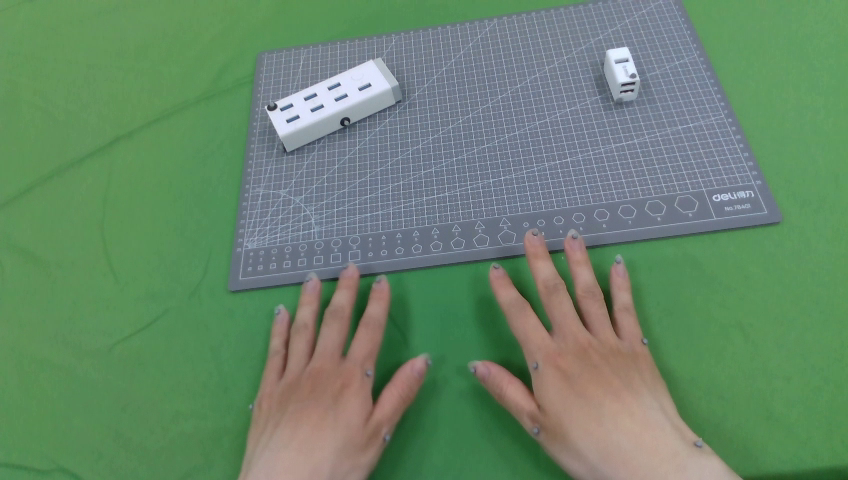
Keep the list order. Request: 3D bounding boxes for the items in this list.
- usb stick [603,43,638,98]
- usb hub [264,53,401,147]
[{"bbox_3d":[0.181,-0.162,0.564,0.021,0.027,0.058,-9,55,5],"label":"usb stick"},{"bbox_3d":[-0.089,-0.138,0.590,0.125,0.025,0.049,-26,58,-9],"label":"usb hub"}]
